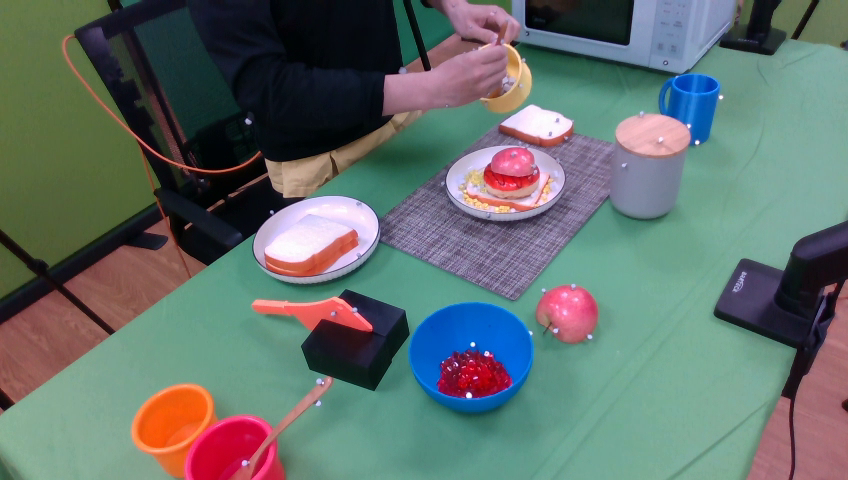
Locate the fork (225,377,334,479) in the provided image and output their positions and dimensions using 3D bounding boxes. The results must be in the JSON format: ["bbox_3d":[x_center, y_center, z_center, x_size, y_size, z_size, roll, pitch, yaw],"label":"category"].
[{"bbox_3d":[-0.163,0.216,0.647,0.207,0.019,0.028,-49,42,16],"label":"fork"}]

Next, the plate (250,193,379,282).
[{"bbox_3d":[-0.174,-0.001,0.984,0.209,0.038,0.208,-4,40,4],"label":"plate"}]

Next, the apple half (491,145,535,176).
[{"bbox_3d":[0.147,-0.138,0.994,0.081,0.033,0.081,0,37,0],"label":"apple half"}]

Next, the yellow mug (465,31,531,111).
[{"bbox_3d":[0.129,-0.295,1.033,0.099,0.064,0.130,6,86,24],"label":"yellow mug"}]

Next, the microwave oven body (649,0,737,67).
[{"bbox_3d":[0.475,-0.602,1.411,0.438,0.261,0.327,23,50,32],"label":"microwave oven body"}]

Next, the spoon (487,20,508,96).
[{"bbox_3d":[0.115,-0.282,0.958,0.021,0.194,0.041,30,75,13],"label":"spoon"}]

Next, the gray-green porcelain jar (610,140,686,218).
[{"bbox_3d":[0.354,-0.106,0.964,0.106,0.127,0.105,-4,41,4],"label":"gray-green porcelain jar"}]

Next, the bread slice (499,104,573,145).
[{"bbox_3d":[0.231,-0.231,1.205,0.105,0.019,0.130,-37,47,-28],"label":"bread slice"}]

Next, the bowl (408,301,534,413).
[{"bbox_3d":[0.059,0.156,0.739,0.151,0.077,0.150,-4,40,4],"label":"bowl"}]

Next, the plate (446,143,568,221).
[{"bbox_3d":[0.142,-0.097,1.045,0.207,0.039,0.206,-4,40,4],"label":"plate"}]

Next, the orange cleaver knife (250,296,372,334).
[{"bbox_3d":[-0.159,0.103,0.828,0.210,0.078,0.012,-4,43,39],"label":"orange cleaver knife"}]

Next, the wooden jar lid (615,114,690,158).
[{"bbox_3d":[0.347,-0.155,0.923,0.108,0.021,0.108,-3,44,4],"label":"wooden jar lid"}]

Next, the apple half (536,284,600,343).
[{"bbox_3d":[0.196,0.091,0.815,0.075,0.053,0.080,-22,42,-20],"label":"apple half"}]

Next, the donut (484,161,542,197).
[{"bbox_3d":[0.149,-0.109,1.016,0.099,0.048,0.098,-4,40,4],"label":"donut"}]

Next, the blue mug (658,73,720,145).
[{"bbox_3d":[0.483,-0.250,1.127,0.082,0.106,0.115,-26,44,-19],"label":"blue mug"}]

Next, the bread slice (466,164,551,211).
[{"bbox_3d":[0.141,-0.090,1.046,0.134,0.018,0.107,13,46,16],"label":"bread slice"}]

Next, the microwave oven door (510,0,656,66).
[{"bbox_3d":[0.350,-0.539,1.349,0.353,0.245,0.039,24,50,31],"label":"microwave oven door"}]

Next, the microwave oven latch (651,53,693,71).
[{"bbox_3d":[0.532,-0.386,1.301,0.078,0.029,0.030,27,52,34],"label":"microwave oven latch"}]
